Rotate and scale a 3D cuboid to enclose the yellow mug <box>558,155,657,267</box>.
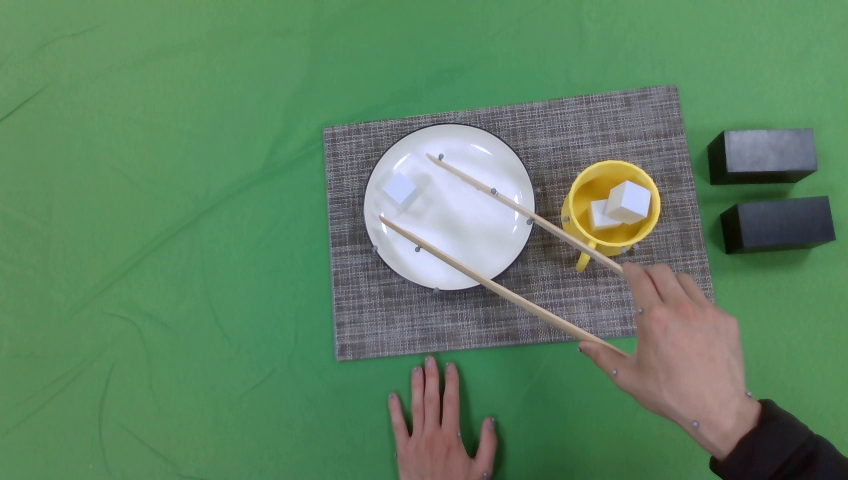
[{"bbox_3d":[0.204,-0.027,0.701,0.099,0.064,0.130,26,83,8],"label":"yellow mug"}]

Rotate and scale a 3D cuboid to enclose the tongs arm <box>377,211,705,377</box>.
[{"bbox_3d":[0.087,0.042,0.610,0.384,0.028,0.028,27,76,36],"label":"tongs arm"}]

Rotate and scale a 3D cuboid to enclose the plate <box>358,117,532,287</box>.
[{"bbox_3d":[0.025,-0.045,0.735,0.207,0.039,0.207,-1,80,5],"label":"plate"}]

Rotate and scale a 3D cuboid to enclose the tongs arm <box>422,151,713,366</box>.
[{"bbox_3d":[0.118,-0.001,0.614,0.381,0.027,0.050,33,83,37],"label":"tongs arm"}]
